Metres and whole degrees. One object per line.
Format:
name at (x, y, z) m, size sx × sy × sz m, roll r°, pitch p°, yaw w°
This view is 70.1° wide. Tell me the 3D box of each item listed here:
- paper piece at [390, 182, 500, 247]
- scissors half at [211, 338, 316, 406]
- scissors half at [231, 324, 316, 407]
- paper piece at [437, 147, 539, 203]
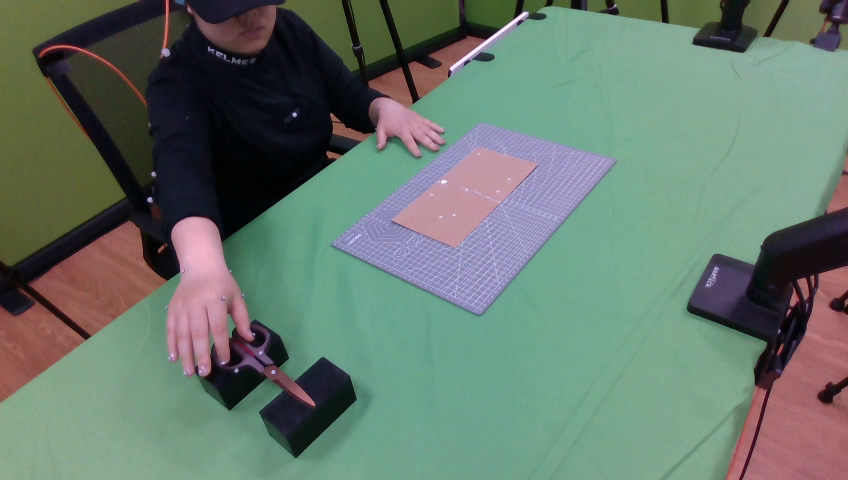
paper piece at (0.037, -0.048, 1.027) m, size 0.134 × 0.004 × 0.136 m, roll 24°, pitch 48°, yaw 30°
scissors half at (-0.198, 0.163, 0.736) m, size 0.174 × 0.013 × 0.040 m, roll 19°, pitch 43°, yaw 26°
scissors half at (-0.185, 0.153, 0.748) m, size 0.040 × 0.013 × 0.173 m, roll -33°, pitch 48°, yaw -26°
paper piece at (0.117, -0.122, 1.104) m, size 0.135 × 0.009 × 0.138 m, roll 26°, pitch 49°, yaw 29°
